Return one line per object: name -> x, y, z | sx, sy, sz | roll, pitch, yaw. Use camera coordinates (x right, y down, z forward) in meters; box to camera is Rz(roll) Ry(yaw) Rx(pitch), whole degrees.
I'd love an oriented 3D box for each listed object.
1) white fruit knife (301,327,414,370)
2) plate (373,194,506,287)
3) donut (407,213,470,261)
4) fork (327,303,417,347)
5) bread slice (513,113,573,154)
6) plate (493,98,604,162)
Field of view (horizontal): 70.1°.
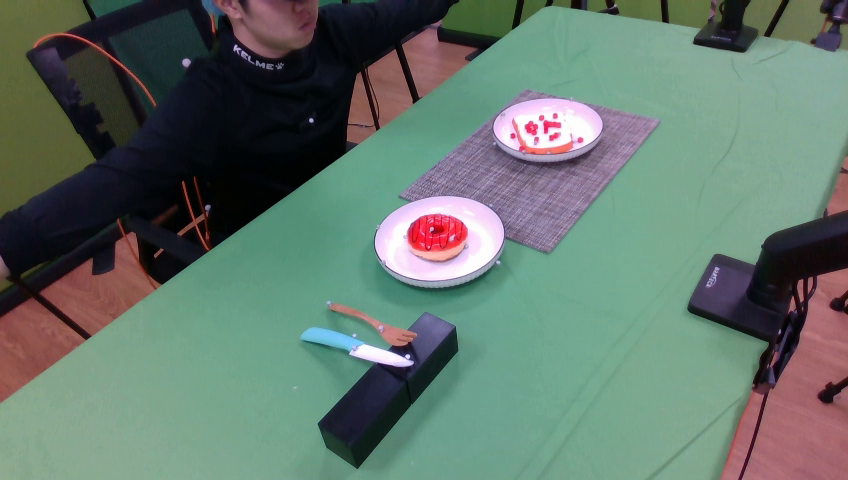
white fruit knife -> -0.088, 0.140, 0.781 | 0.205, 0.016, 0.027 | 7, 41, 42
plate -> 0.025, 0.003, 0.952 | 0.207, 0.039, 0.206 | -4, 41, 4
donut -> 0.022, -0.006, 0.944 | 0.099, 0.048, 0.098 | -4, 38, 3
fork -> -0.077, 0.110, 0.811 | 0.028, 0.019, 0.205 | -41, 33, -26
bread slice -> 0.233, -0.205, 1.160 | 0.105, 0.019, 0.131 | -7, 40, 1
plate -> 0.237, -0.206, 1.158 | 0.209, 0.038, 0.208 | -4, 40, 4
